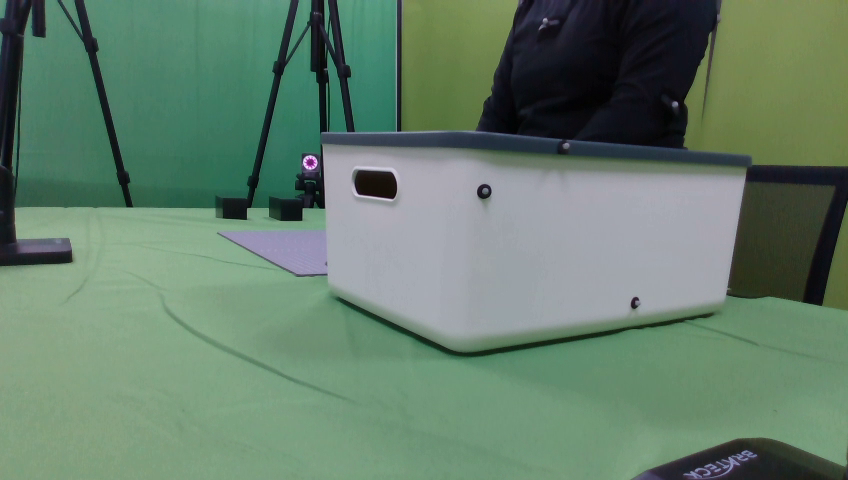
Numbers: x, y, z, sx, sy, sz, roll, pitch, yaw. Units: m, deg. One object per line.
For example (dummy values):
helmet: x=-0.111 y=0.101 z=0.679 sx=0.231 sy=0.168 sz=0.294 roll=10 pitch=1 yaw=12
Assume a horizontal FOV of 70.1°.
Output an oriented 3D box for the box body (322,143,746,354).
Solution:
box body: x=0.106 y=-0.011 z=0.603 sx=0.366 sy=0.160 sz=0.253 roll=-2 pitch=8 yaw=-34

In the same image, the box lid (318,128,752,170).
box lid: x=0.107 y=-0.085 z=0.593 sx=0.373 sy=0.015 sz=0.262 roll=-1 pitch=8 yaw=-34
